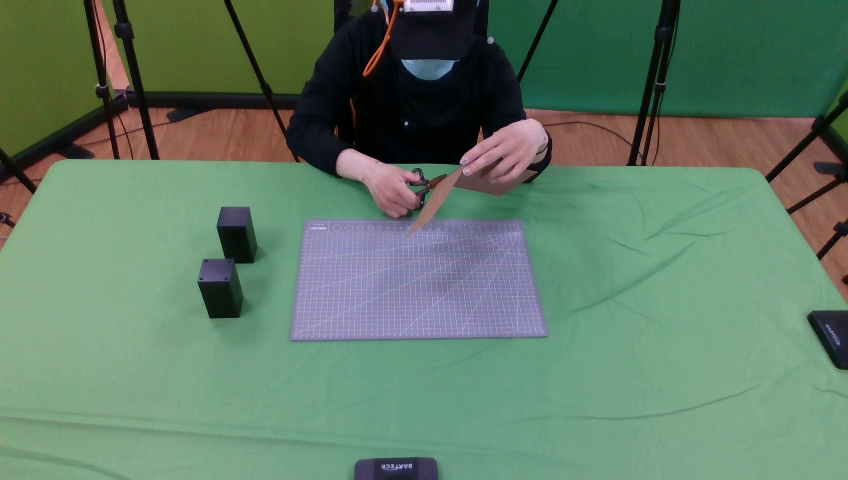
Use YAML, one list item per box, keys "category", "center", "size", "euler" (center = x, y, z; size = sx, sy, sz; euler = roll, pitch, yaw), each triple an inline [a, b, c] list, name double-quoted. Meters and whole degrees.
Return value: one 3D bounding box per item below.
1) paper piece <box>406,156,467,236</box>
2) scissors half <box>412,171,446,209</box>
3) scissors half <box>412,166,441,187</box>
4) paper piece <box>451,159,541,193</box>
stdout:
- category: "paper piece"
  center: [0.019, -0.075, 1.056]
  size: [0.004, 0.135, 0.135]
  euler: [34, 69, -9]
- category: "scissors half"
  center: [0.010, -0.099, 1.184]
  size: [0.013, 0.175, 0.040]
  euler: [0, 72, -20]
- category: "scissors half"
  center: [0.009, -0.121, 1.185]
  size: [0.013, 0.040, 0.174]
  euler: [-5, 12, -21]
- category: "paper piece"
  center: [0.119, -0.115, 1.109]
  size: [0.138, 0.136, 0.008]
  euler: [6, 77, -22]
